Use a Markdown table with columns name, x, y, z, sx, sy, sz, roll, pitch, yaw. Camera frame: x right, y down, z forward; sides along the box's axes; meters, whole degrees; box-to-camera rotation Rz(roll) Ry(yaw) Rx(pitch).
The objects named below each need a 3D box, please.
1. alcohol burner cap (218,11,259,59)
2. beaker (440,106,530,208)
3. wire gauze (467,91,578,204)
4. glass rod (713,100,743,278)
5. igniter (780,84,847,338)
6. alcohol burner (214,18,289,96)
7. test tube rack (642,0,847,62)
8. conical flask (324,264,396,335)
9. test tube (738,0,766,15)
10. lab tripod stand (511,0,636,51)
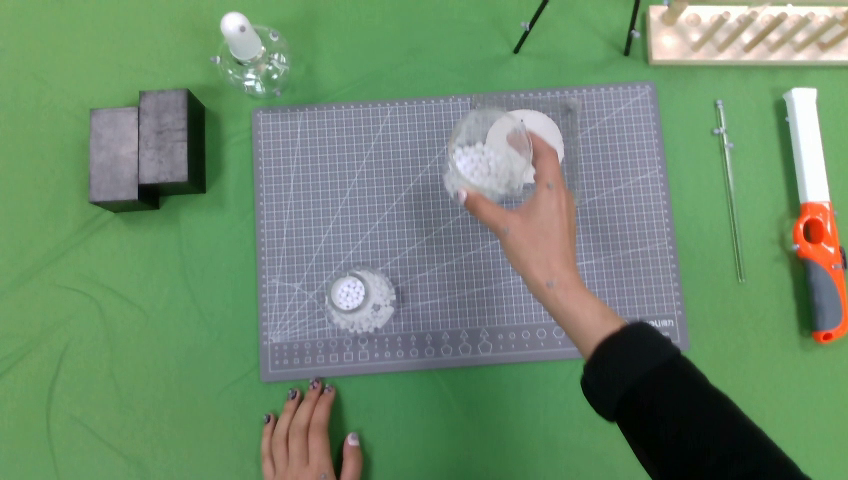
| name | x | y | z | sx | sy | sz | roll | pitch | yaw |
| --- | --- | --- | --- | --- | --- | --- | --- | --- | --- |
| alcohol burner cap | -0.183 | -0.203 | 0.591 | 0.034 | 0.048 | 0.033 | 0 | 75 | 0 |
| beaker | 0.055 | -0.071 | 0.571 | 0.074 | 0.100 | 0.084 | -35 | 86 | -7 |
| wire gauze | 0.109 | -0.104 | 0.666 | 0.125 | 0.011 | 0.121 | 4 | 82 | -2 |
| glass rod | 0.332 | -0.058 | 0.663 | 0.008 | 0.008 | 0.199 | -3 | 82 | -1 |
| igniter | 0.417 | -0.034 | 0.651 | 0.057 | 0.025 | 0.275 | -1 | 82 | -10 |
| alcohol burner | -0.183 | -0.196 | 0.626 | 0.078 | 0.119 | 0.077 | 0 | 83 | 2 |
| test tube rack | 0.370 | -0.242 | 0.650 | 0.242 | 0.085 | 0.066 | -1 | 81 | 0 |
| conical flask | -0.067 | 0.054 | 0.585 | 0.075 | 0.122 | 0.075 | 0 | 81 | 0 |
| test tube | 0.353 | -0.264 | 0.603 | 0.017 | 0.150 | 0.017 | 0 | 81 | 3 |
| lab tripod stand | 0.163 | -0.259 | 0.628 | 0.148 | 0.132 | 0.148 | 0 | 84 | 0 |
